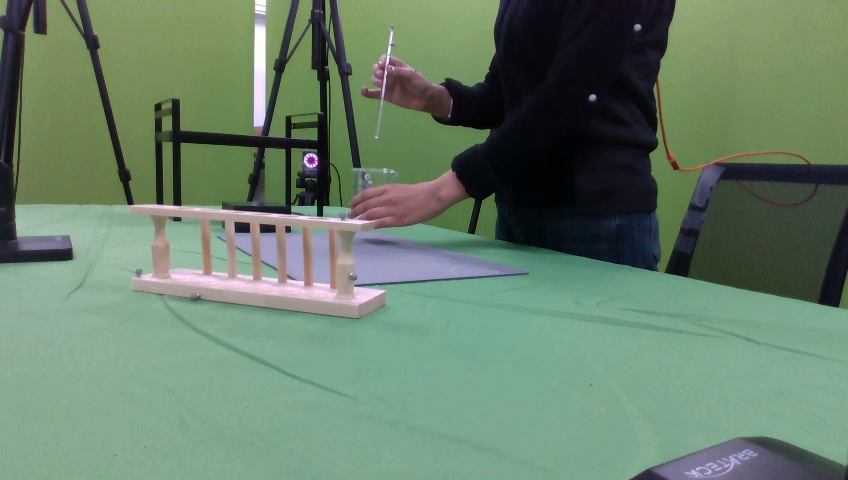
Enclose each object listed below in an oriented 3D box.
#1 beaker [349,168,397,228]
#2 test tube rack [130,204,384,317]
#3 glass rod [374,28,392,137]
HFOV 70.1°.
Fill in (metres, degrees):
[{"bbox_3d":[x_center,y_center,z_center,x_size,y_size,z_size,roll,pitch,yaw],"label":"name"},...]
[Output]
[{"bbox_3d":[-0.088,-0.073,1.045,0.084,0.100,0.074,-1,9,-14],"label":"beaker"},{"bbox_3d":[-0.163,0.013,0.589,0.242,0.085,0.067,5,8,17],"label":"test tube rack"},{"bbox_3d":[-0.070,-0.270,1.032,0.008,0.199,0.008,6,-10,1],"label":"glass rod"}]
